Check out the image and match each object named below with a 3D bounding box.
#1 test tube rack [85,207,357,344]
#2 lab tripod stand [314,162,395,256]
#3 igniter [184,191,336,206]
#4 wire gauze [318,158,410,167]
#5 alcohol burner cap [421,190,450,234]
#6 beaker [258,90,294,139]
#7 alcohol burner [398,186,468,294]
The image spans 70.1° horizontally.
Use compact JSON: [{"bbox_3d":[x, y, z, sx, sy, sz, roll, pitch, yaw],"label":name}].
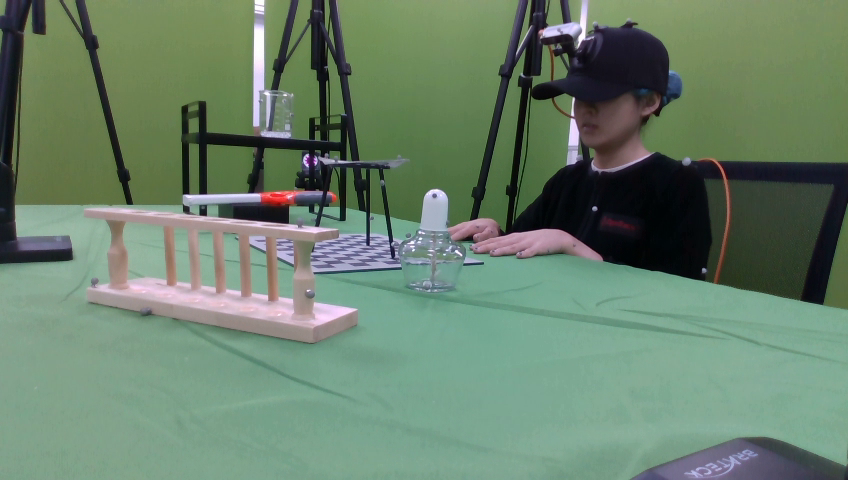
[{"bbox_3d":[-0.177,0.022,0.518,0.241,0.085,0.067,6,7,23],"label":"test tube rack"},{"bbox_3d":[-0.098,-0.048,0.897,0.148,0.131,0.148,1,6,0],"label":"lab tripod stand"},{"bbox_3d":[-0.298,-0.078,1.126,0.278,0.025,0.057,-4,13,-32],"label":"igniter"},{"bbox_3d":[-0.090,-0.114,0.888,0.122,0.011,0.124,0,6,-15],"label":"wire gauze"},{"bbox_3d":[0.014,-0.031,0.665,0.034,0.048,0.034,5,9,0],"label":"alcohol burner cap"},{"bbox_3d":[-0.324,-0.274,1.331,0.083,0.100,0.074,7,9,24],"label":"beaker"},{"bbox_3d":[0.011,-0.001,0.669,0.078,0.119,0.078,5,8,0],"label":"alcohol burner"}]
